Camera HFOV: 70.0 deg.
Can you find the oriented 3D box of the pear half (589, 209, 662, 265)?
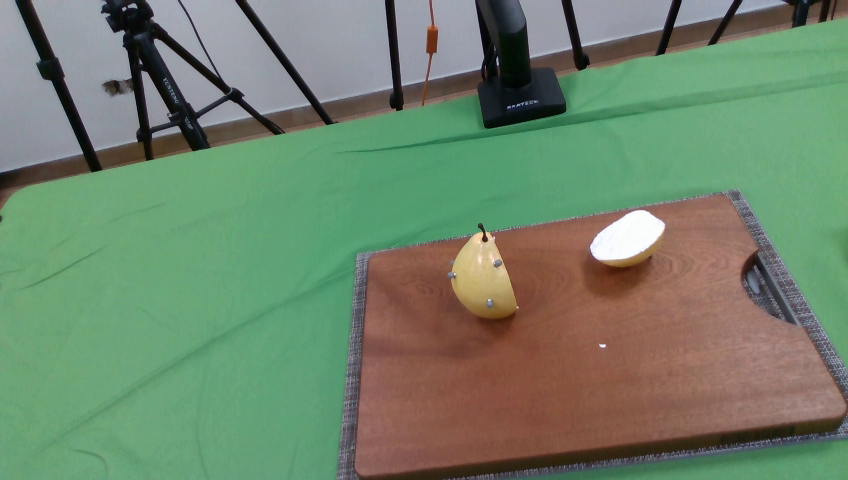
[{"bbox_3d":[0.205,0.002,0.609,0.070,0.031,0.088,-1,30,38],"label":"pear half"}]

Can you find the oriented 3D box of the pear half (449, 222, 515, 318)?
[{"bbox_3d":[0.049,0.027,0.574,0.056,0.111,0.075,-22,40,-6],"label":"pear half"}]
